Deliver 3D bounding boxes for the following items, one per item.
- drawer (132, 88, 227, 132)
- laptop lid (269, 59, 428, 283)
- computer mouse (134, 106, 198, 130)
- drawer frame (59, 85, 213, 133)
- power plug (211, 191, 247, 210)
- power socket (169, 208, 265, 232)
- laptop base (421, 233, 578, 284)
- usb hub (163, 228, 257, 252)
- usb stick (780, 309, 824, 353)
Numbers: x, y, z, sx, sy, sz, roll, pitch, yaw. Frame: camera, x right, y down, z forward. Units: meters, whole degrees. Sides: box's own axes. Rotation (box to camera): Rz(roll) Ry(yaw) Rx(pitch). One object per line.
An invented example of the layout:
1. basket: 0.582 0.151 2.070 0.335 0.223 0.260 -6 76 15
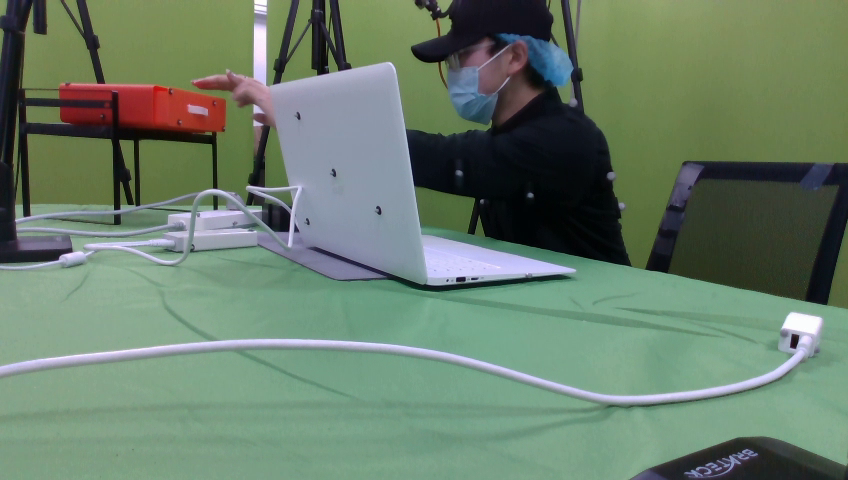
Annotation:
1. drawer: -0.542 -0.260 1.222 0.211 0.073 0.195 3 8 13
2. laptop lid: -0.110 -0.087 0.752 0.013 0.241 0.355 -18 19 -30
3. computer mouse: -0.517 -0.245 1.215 0.118 0.041 0.062 2 3 -39
4. drawer frame: -0.570 -0.263 1.226 0.213 0.082 0.202 3 8 12
5. power plug: -0.386 -0.071 1.204 0.072 0.052 0.035 8 11 27
6. power socket: -0.380 -0.038 1.128 0.072 0.032 0.227 4 8 17
7. laptop base: 0.007 0.021 0.850 0.237 0.023 0.352 1 7 -34
8. usb hub: -0.314 -0.001 0.894 0.049 0.025 0.126 10 11 41
9. usb stick: 0.311 0.072 0.496 0.027 0.021 0.059 7 15 34
